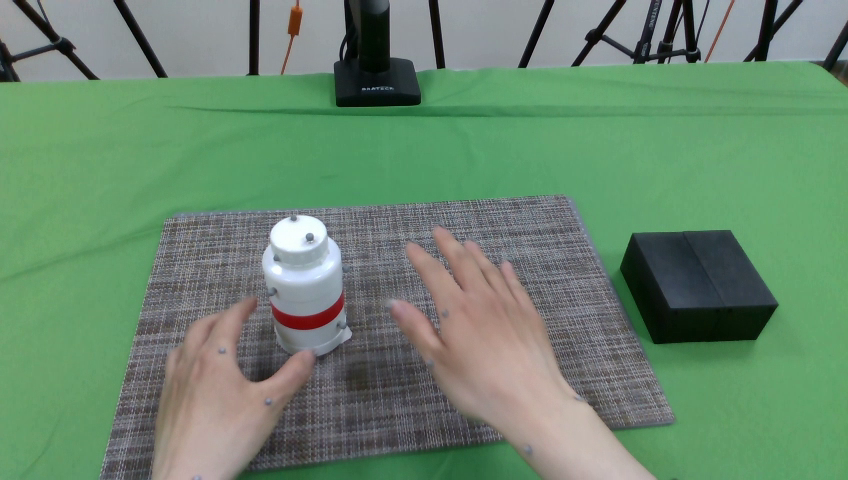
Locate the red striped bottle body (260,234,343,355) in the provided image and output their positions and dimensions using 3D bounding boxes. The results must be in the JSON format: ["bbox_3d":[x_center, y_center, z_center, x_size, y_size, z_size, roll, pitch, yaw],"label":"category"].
[{"bbox_3d":[-0.101,0.037,0.509,0.063,0.121,0.062,2,43,-2],"label":"red striped bottle body"}]

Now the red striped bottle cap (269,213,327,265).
[{"bbox_3d":[-0.099,-0.002,0.473,0.044,0.018,0.044,2,44,-2],"label":"red striped bottle cap"}]
